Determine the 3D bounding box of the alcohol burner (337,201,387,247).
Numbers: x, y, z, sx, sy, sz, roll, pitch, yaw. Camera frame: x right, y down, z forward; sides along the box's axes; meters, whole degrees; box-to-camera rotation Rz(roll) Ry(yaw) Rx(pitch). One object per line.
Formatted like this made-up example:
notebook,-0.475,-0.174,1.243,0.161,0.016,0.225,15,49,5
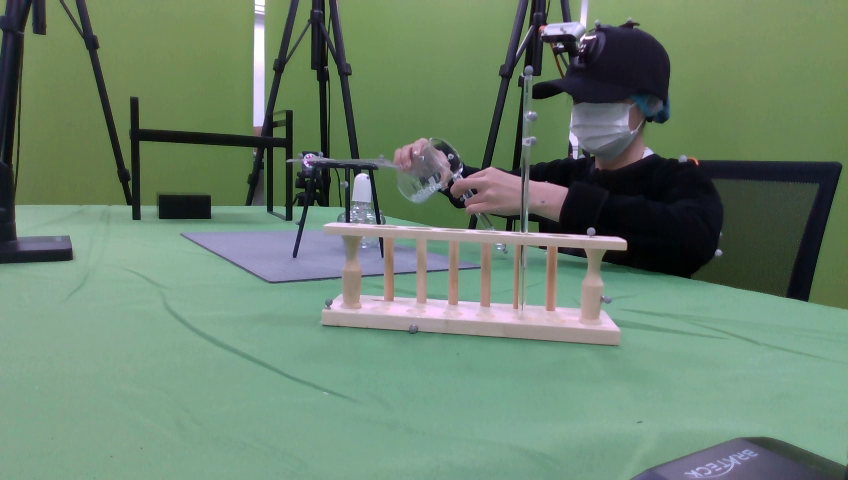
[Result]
alcohol burner,-0.098,-0.049,0.954,0.078,0.119,0.078,0,7,0

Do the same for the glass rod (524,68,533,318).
glass rod,0.082,-0.031,0.473,0.008,0.199,0.008,-2,14,1

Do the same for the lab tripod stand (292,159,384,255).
lab tripod stand,-0.105,-0.039,0.797,0.148,0.131,0.148,2,5,0

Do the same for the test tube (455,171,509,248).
test tube,0.090,-0.049,0.951,0.017,0.149,0.017,-26,-23,-12

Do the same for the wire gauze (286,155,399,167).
wire gauze,-0.101,-0.105,0.788,0.121,0.011,0.125,4,6,6

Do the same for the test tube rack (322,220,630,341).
test tube rack,0.041,0.029,0.512,0.242,0.085,0.067,3,7,5

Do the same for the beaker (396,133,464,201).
beaker,0.008,-0.117,1.015,0.100,0.084,0.074,-40,-15,35

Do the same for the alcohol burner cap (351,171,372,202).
alcohol burner cap,-0.096,-0.085,0.952,0.034,0.048,0.034,7,5,0
